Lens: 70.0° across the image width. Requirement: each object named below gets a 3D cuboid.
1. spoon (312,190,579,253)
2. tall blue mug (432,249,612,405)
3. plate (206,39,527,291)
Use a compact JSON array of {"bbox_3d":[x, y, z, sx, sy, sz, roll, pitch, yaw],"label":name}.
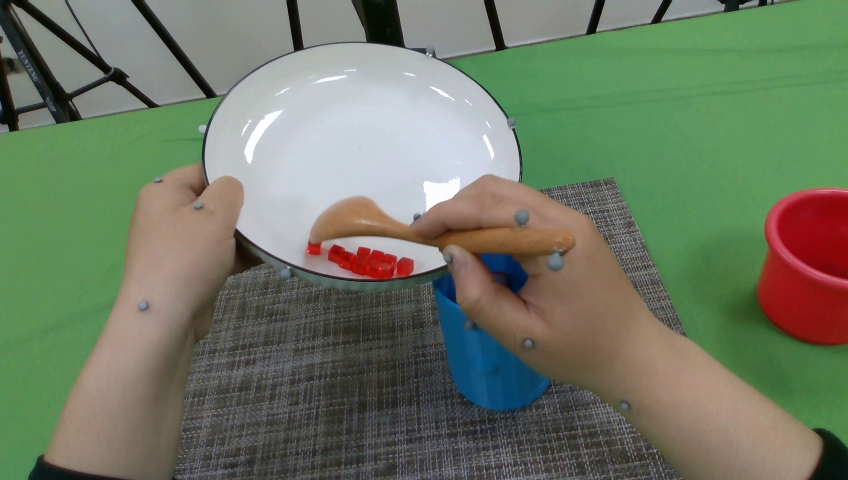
[{"bbox_3d":[-0.002,-0.008,0.301,0.192,0.022,0.041,10,47,48],"label":"spoon"},{"bbox_3d":[0.065,0.049,0.416,0.107,0.109,0.077,-13,44,-1],"label":"tall blue mug"},{"bbox_3d":[-0.036,-0.053,0.410,0.208,0.039,0.205,4,57,-5],"label":"plate"}]
